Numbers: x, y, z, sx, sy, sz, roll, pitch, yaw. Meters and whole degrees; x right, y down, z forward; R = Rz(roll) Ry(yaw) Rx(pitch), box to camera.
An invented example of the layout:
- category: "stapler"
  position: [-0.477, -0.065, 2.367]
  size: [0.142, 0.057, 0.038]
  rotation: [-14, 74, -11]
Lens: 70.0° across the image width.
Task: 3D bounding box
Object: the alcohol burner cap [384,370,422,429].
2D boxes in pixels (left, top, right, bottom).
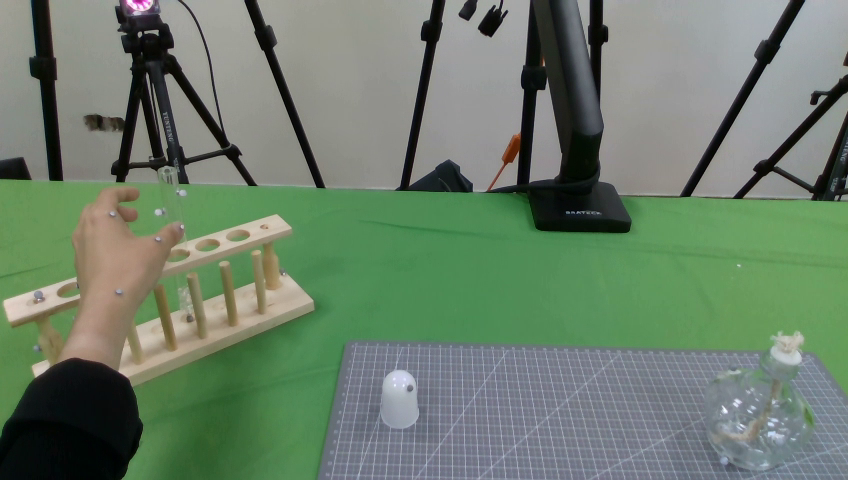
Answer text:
- category: "alcohol burner cap"
  position: [-0.018, 0.127, 0.496]
  size: [0.034, 0.048, 0.033]
  rotation: [1, 33, 0]

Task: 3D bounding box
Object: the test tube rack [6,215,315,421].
- category: "test tube rack"
  position: [-0.227, 0.062, 0.558]
  size: [0.243, 0.086, 0.066]
  rotation: [-22, 39, -31]

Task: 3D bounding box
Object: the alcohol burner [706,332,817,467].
- category: "alcohol burner"
  position: [0.258, 0.114, 0.456]
  size: [0.078, 0.120, 0.077]
  rotation: [1, 35, 0]

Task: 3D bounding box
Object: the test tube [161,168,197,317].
- category: "test tube"
  position: [-0.222, 0.007, 0.553]
  size: [0.017, 0.151, 0.017]
  rotation: [3, 28, -1]
